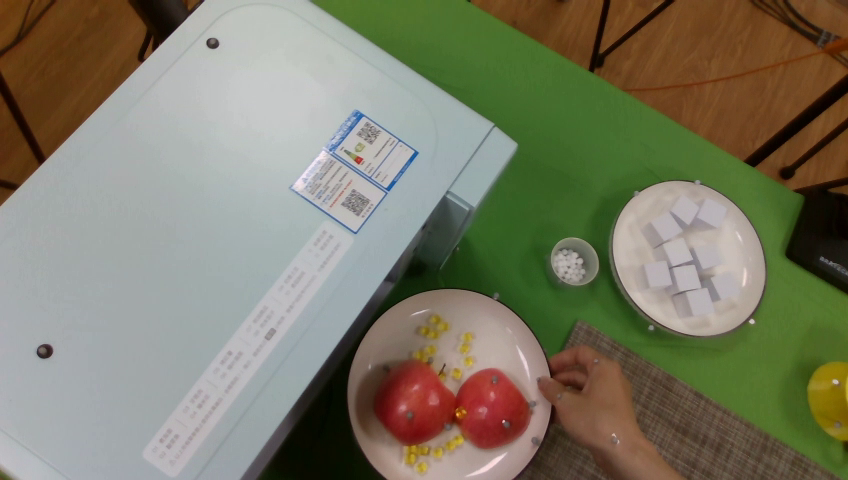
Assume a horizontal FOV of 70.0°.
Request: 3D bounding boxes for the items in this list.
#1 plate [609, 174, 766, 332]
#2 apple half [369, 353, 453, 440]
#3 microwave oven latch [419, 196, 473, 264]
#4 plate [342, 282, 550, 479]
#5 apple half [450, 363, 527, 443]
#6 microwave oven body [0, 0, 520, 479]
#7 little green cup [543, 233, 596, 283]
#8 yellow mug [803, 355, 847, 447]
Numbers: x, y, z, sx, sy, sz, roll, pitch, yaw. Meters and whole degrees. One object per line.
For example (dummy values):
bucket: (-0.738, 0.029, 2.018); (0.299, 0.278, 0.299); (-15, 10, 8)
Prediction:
plate: (0.335, 0.017, 0.783); (0.208, 0.039, 0.206); (2, 74, -7)
apple half: (-0.013, 0.153, 0.592); (0.074, 0.053, 0.080); (-36, 82, -11)
microwave oven latch: (0.027, -0.011, 0.727); (0.030, 0.029, 0.079); (37, 74, 3)
plate: (0.022, 0.147, 0.615); (0.209, 0.038, 0.208); (2, 74, -6)
apple half: (0.065, 0.165, 0.608); (0.081, 0.033, 0.081); (1, 72, -4)
microwave oven body: (-0.181, 0.017, 0.588); (0.326, 0.261, 0.440); (34, 73, 2)
little green cup: (0.180, 0.025, 0.757); (0.062, 0.039, 0.061); (2, 76, -8)
yellow mug: (0.537, 0.205, 0.745); (0.100, 0.064, 0.130); (4, 75, -7)
